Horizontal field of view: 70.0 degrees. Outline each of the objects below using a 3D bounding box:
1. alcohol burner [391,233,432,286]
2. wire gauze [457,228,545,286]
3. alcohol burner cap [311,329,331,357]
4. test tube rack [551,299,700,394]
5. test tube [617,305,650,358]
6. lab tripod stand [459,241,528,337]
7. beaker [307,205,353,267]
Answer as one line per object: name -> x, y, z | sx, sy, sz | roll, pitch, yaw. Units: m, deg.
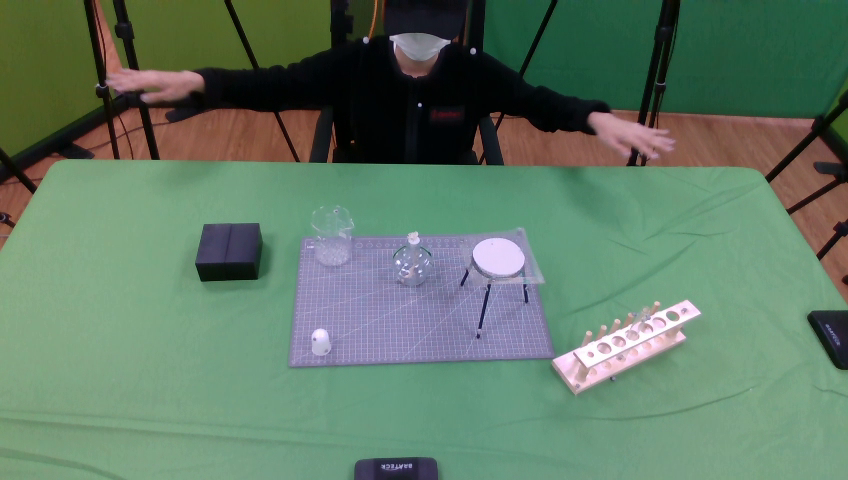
alcohol burner -> -0.022, 0.028, 1.102 | 0.078, 0.119, 0.077 | 2, 48, -2
wire gauze -> 0.126, 0.029, 1.006 | 0.125, 0.011, 0.120 | -4, 46, -10
alcohol burner cap -> -0.173, 0.168, 1.004 | 0.034, 0.048, 0.033 | 2, 46, -2
test tube rack -> 0.339, 0.166, 1.021 | 0.242, 0.085, 0.066 | -19, 50, -21
test tube -> 0.333, 0.149, 0.967 | 0.017, 0.151, 0.017 | 0, 52, 1
lab tripod stand -> 0.122, 0.075, 1.054 | 0.148, 0.132, 0.147 | 3, 44, -3
beaker -> -0.172, -0.004, 1.131 | 0.084, 0.101, 0.073 | 15, 47, 8
